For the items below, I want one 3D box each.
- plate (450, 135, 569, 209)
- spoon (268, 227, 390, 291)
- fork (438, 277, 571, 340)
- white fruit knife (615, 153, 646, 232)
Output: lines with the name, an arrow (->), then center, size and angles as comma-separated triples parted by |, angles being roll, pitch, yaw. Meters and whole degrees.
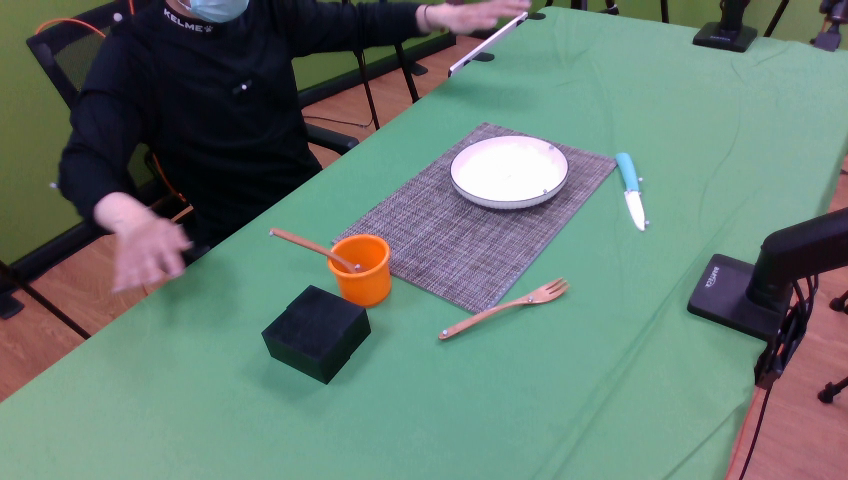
plate -> 0.149, -0.117, 1.066 | 0.209, 0.038, 0.208 | -4, 41, 4
spoon -> -0.132, 0.025, 0.862 | 0.021, 0.195, 0.041 | -39, 32, 33
fork -> 0.113, 0.096, 0.843 | 0.208, 0.019, 0.028 | -19, 48, -16
white fruit knife -> 0.352, -0.084, 1.023 | 0.027, 0.016, 0.206 | -19, 40, 23
